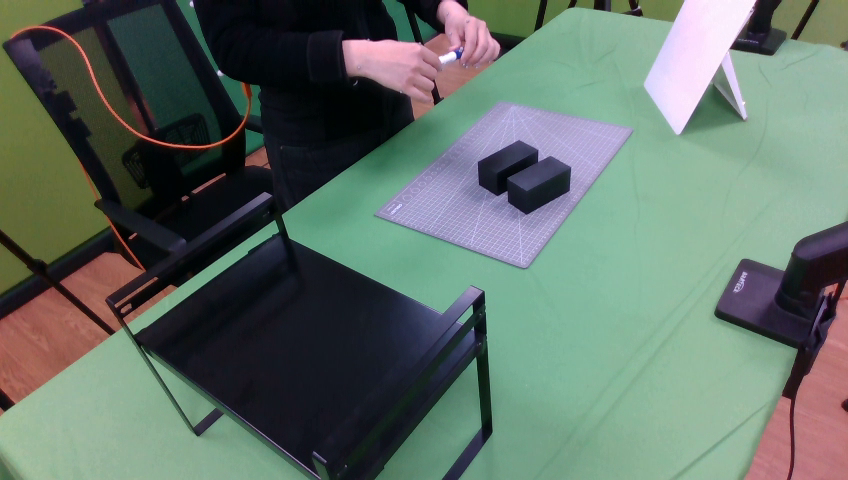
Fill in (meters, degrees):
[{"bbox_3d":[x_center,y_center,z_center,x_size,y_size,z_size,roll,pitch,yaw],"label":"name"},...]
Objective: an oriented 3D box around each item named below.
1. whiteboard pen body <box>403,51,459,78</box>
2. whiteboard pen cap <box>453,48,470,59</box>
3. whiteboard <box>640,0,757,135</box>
[{"bbox_3d":[0.021,-0.295,1.005,0.141,0.017,0.017,-30,45,-32],"label":"whiteboard pen body"},{"bbox_3d":[0.062,-0.319,1.039,0.033,0.018,0.018,-20,41,-32],"label":"whiteboard pen cap"},{"bbox_3d":[0.575,-0.367,1.147,0.144,0.305,0.216,10,39,-9],"label":"whiteboard"}]
